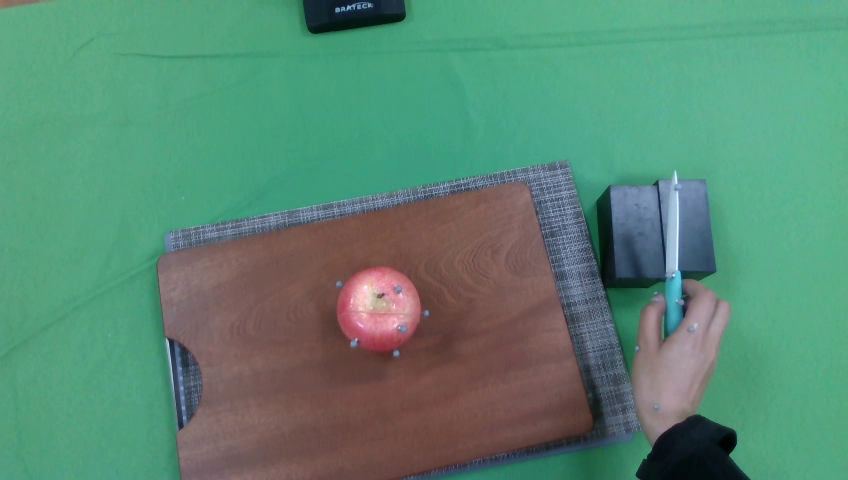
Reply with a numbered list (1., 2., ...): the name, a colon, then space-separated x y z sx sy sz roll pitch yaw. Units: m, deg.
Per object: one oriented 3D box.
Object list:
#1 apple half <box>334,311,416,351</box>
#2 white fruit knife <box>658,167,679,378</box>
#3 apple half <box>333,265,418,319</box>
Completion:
1. apple half: -0.047 0.090 0.576 0.081 0.082 0.032 2 70 -1
2. white fruit knife: 0.232 0.035 0.576 0.016 0.027 0.207 -3 97 -4
3. apple half: -0.045 0.053 0.588 0.081 0.075 0.053 0 71 3
